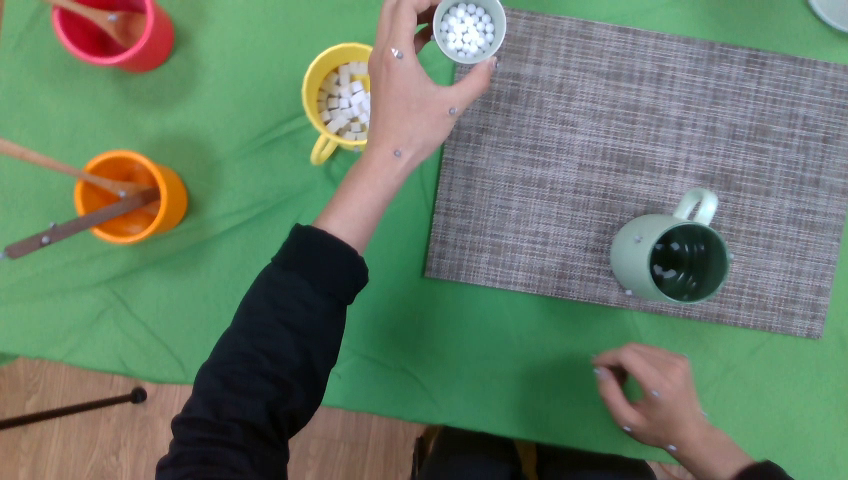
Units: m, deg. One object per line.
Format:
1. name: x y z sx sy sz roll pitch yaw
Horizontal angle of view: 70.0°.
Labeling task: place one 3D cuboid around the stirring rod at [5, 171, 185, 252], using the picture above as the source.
1. stirring rod: -0.315 -0.031 0.594 0.176 0.006 0.014 -34 96 -40

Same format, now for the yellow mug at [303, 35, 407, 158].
1. yellow mug: -0.077 -0.139 0.626 0.100 0.064 0.131 34 94 -3

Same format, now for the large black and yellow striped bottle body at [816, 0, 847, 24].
1. large black and yellow striped bottle body: 0.474 -0.289 0.564 0.131 0.184 0.131 0 93 0

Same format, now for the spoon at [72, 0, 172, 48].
1. spoon: -0.340 -0.234 0.577 0.195 0.021 0.041 13 94 -45

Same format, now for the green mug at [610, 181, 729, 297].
1. green mug: 0.255 -0.003 0.617 0.092 0.105 0.125 26 93 -2

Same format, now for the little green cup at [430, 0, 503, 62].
1. little green cup: 0.036 -0.182 0.518 0.061 0.038 0.061 0 98 0

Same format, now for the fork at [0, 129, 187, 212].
1. fork: -0.330 -0.071 0.585 0.209 0.018 0.028 25 90 -45
